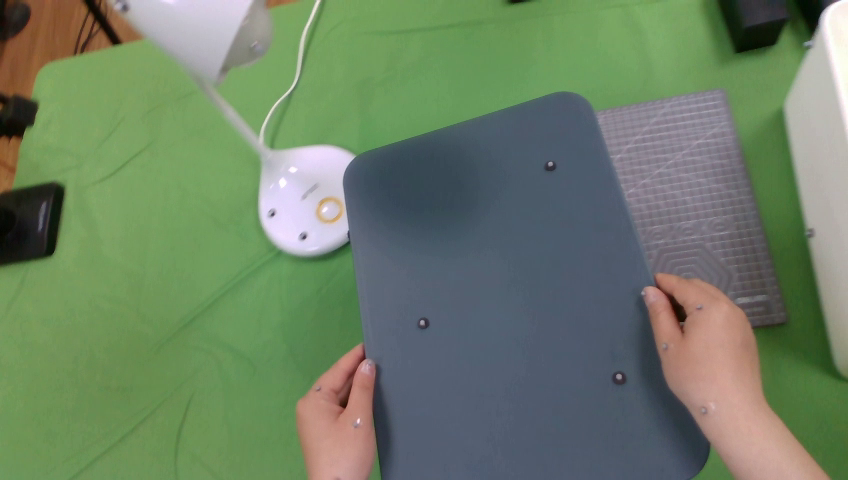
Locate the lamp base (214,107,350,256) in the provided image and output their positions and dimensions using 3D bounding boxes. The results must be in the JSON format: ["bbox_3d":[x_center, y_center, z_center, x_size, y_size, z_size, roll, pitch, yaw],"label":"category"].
[{"bbox_3d":[-0.181,-0.086,0.755,0.178,0.182,0.160,30,79,25],"label":"lamp base"}]

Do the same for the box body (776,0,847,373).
[{"bbox_3d":[0.517,-0.053,0.581,0.253,0.162,0.361,-5,69,12],"label":"box body"}]

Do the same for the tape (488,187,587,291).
[{"bbox_3d":[0.133,-0.001,0.714,0.116,0.053,0.116,-4,69,11],"label":"tape"}]

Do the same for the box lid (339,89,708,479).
[{"bbox_3d":[0.064,0.041,0.545,0.263,0.015,0.368,-16,65,9],"label":"box lid"}]

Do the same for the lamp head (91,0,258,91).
[{"bbox_3d":[-0.199,-0.193,0.476,0.123,0.112,0.112,24,75,-14],"label":"lamp head"}]
